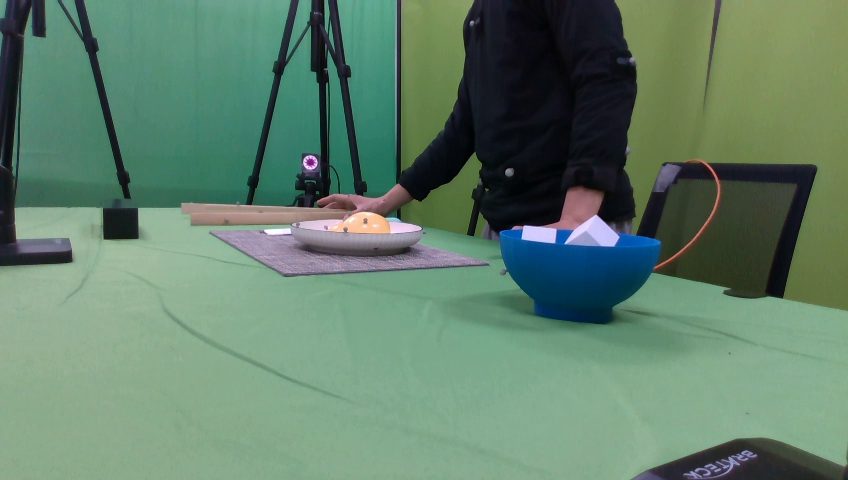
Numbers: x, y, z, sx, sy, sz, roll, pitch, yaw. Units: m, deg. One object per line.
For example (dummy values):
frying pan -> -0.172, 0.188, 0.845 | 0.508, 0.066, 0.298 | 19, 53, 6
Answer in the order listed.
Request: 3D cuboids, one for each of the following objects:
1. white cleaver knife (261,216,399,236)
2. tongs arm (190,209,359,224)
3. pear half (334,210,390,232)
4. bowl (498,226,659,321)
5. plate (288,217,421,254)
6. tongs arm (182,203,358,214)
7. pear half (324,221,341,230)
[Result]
white cleaver knife -> -0.169, -0.021, 1.156 | 0.288, 0.021, 0.065 | -7, 20, -33
tongs arm -> -0.303, -0.051, 1.301 | 0.390, 0.028, 0.028 | -3, 6, -37
pear half -> -0.108, -0.016, 0.920 | 0.110, 0.056, 0.076 | -4, 5, -20
bowl -> 0.145, 0.032, 0.584 | 0.151, 0.077, 0.151 | 2, 7, 0
plate -> -0.109, -0.007, 0.956 | 0.208, 0.039, 0.207 | 2, 7, 0
tongs arm -> -0.340, -0.065, 1.372 | 0.387, 0.026, 0.050 | 0, 8, -24
pear half -> -0.126, -0.019, 1.001 | 0.088, 0.031, 0.070 | 8, 3, 1
